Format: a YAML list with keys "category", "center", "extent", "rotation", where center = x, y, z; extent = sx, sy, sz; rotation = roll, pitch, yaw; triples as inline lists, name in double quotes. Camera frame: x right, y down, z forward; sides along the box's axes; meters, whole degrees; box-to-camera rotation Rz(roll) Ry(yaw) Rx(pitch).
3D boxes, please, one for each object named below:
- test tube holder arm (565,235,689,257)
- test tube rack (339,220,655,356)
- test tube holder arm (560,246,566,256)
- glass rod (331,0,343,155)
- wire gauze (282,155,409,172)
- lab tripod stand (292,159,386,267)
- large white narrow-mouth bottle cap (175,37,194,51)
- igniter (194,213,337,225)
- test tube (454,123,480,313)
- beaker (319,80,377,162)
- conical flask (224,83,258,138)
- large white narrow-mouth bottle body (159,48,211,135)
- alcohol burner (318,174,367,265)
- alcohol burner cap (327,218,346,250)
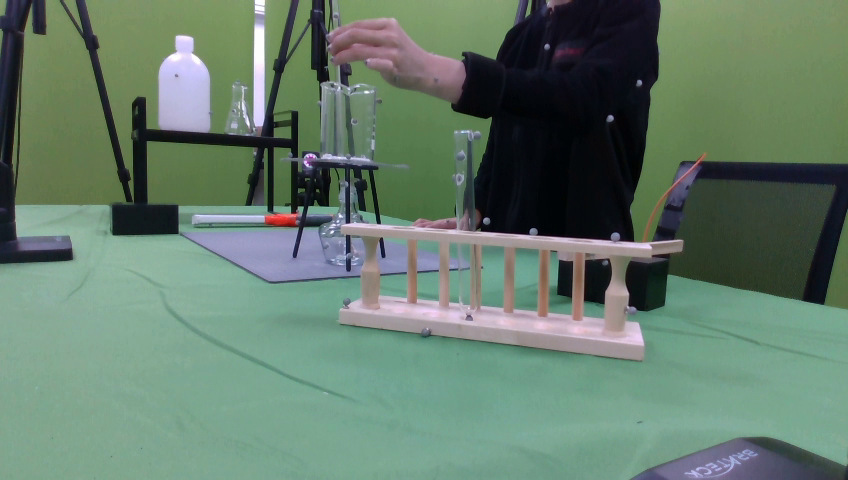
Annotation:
- category: "test tube holder arm"
  center: [0.216, 0.006, 0.629]
  extent: [0.179, 0.015, 0.013]
  rotation: [-3, 11, -30]
- category: "test tube rack"
  center: [0.056, 0.032, 0.495]
  extent: [0.242, 0.085, 0.067]
  rotation: [4, 7, 15]
- category: "test tube holder arm"
  center: [0.173, 0.007, 0.611]
  extent: [0.088, 0.015, 0.010]
  rotation: [-3, 11, -29]
- category: "glass rod"
  center: [-0.107, -0.205, 0.744]
  extent: [0.008, 0.199, 0.008]
  rotation: [-1, 9, 1]
- category: "wire gauze"
  center: [-0.104, -0.103, 0.785]
  extent: [0.126, 0.011, 0.121]
  rotation: [1, 8, -38]
- category: "lab tripod stand"
  center: [-0.105, -0.039, 0.797]
  extent: [0.148, 0.131, 0.148]
  rotation: [2, 5, 0]
- category: "large white narrow-mouth bottle cap"
  center: [-0.501, -0.409, 1.264]
  extent: [0.038, 0.024, 0.037]
  rotation: [2, 7, 0]
- category: "igniter"
  center: [-0.306, -0.042, 1.196]
  extent: [0.278, 0.025, 0.057]
  rotation: [-2, -2, -31]
- category: "test tube"
  center: [0.034, -0.016, 0.476]
  extent: [0.017, 0.150, 0.017]
  rotation: [-2, 9, 1]
- category: "beaker"
  center: [-0.098, -0.151, 0.777]
  extent: [0.074, 0.100, 0.084]
  rotation: [1, 6, -8]
- category: "conical flask"
  center: [-0.422, -0.299, 1.395]
  extent: [0.075, 0.122, 0.075]
  rotation: [2, 7, 0]
- category: "large white narrow-mouth bottle body"
  center: [-0.503, -0.322, 1.275]
  extent: [0.102, 0.194, 0.102]
  rotation: [2, 7, 0]
- category: "alcohol burner"
  center: [-0.100, -0.028, 0.790]
  extent: [0.078, 0.119, 0.078]
  rotation: [0, 6, 0]
- category: "alcohol burner cap"
  center: [-0.132, -0.010, 0.927]
  extent: [0.034, 0.048, 0.034]
  rotation: [3, 8, 0]
